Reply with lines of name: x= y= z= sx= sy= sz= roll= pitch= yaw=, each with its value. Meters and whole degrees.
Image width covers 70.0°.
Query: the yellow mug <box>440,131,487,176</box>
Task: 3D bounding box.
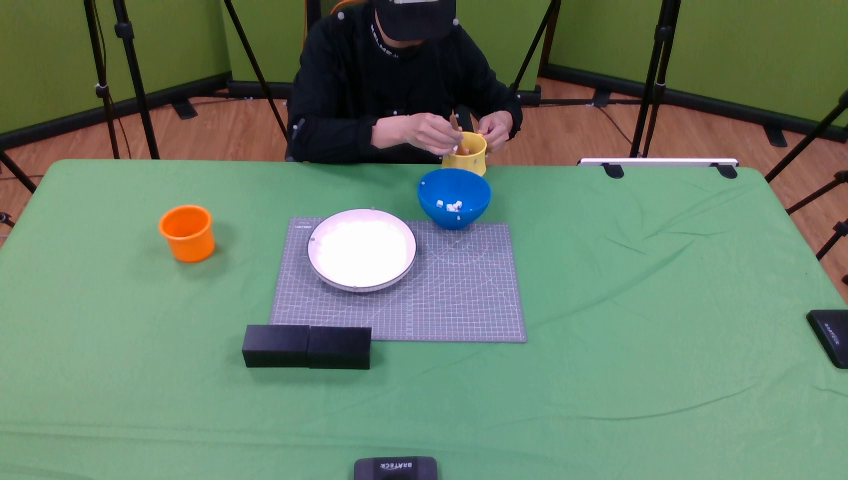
yellow mug: x=0.094 y=-0.191 z=1.319 sx=0.099 sy=0.064 sz=0.130 roll=25 pitch=47 yaw=27

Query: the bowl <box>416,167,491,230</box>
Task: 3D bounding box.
bowl: x=0.057 y=-0.074 z=1.231 sx=0.151 sy=0.077 sz=0.150 roll=2 pitch=42 yaw=-2

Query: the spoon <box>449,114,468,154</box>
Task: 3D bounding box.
spoon: x=0.070 y=-0.206 z=1.250 sx=0.041 sy=0.195 sz=0.021 roll=6 pitch=68 yaw=15

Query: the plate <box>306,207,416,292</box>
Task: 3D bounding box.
plate: x=-0.119 y=0.021 z=1.153 sx=0.209 sy=0.038 sz=0.208 roll=2 pitch=46 yaw=-2
